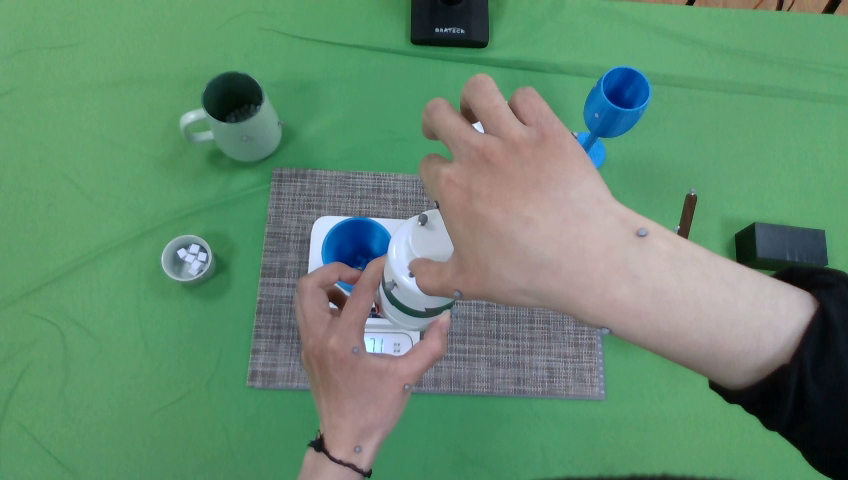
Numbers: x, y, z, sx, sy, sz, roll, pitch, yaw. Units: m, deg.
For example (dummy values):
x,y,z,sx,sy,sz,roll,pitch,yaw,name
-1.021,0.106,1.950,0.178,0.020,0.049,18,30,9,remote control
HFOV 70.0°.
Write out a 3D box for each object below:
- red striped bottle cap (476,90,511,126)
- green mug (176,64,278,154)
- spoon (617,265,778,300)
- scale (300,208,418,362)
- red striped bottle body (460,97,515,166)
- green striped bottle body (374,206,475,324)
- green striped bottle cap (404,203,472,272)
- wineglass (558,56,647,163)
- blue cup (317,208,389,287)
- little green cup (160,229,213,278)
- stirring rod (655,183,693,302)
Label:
x,y,z,sx,sy,sz,roll,pitch,yaw,name
0.089,-0.168,0.769,0.044,0.018,0.044,1,71,-3,red striped bottle cap
-0.265,-0.168,0.809,0.125,0.105,0.092,-19,76,-9,green mug
0.336,0.058,0.761,0.022,0.192,0.041,25,77,-42,spoon
-0.082,0.057,0.790,0.149,0.032,0.199,2,74,-3,scale
0.086,-0.152,0.821,0.063,0.120,0.062,1,73,-4,red striped bottle body
-0.001,0.018,0.446,0.063,0.120,0.062,4,67,-9,green striped bottle body
0.009,-0.002,0.398,0.044,0.020,0.044,5,62,-8,green striped bottle cap
0.232,-0.168,0.807,0.074,0.173,0.073,1,73,-3,wineglass
-0.082,0.017,0.733,0.093,0.100,0.092,1,76,-5,blue cup
-0.304,0.020,0.785,0.061,0.039,0.061,2,73,-5,little green cup
0.318,0.008,0.775,0.014,0.177,0.006,7,32,12,stirring rod
